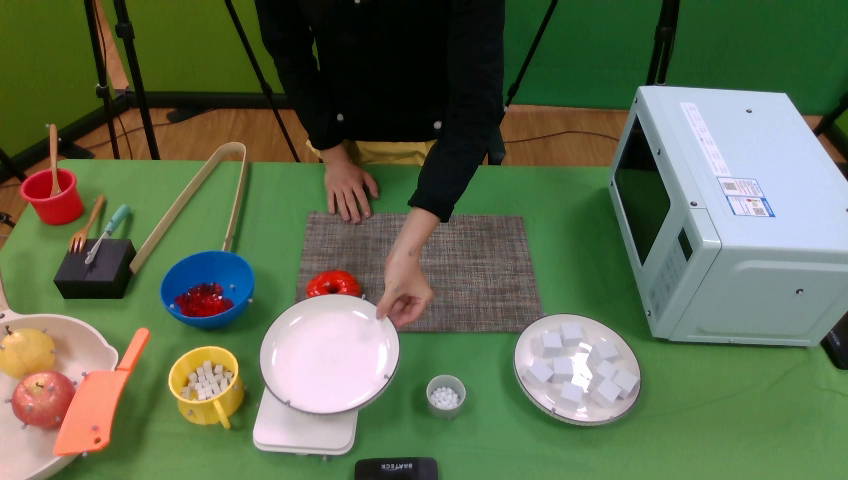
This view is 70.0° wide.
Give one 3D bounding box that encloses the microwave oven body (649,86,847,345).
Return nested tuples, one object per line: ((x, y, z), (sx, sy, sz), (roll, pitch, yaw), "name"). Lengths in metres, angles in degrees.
((0.567, -0.053, 1.118), (0.326, 0.261, 0.439), (2, 45, -1), "microwave oven body")

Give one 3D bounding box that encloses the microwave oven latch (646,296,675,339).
((0.412, 0.134, 1.061), (0.030, 0.029, 0.078), (4, 45, 1), "microwave oven latch")

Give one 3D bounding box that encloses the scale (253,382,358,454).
((-0.175, 0.236, 0.951), (0.149, 0.032, 0.199), (4, 45, 0), "scale")

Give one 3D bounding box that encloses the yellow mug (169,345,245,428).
((-0.322, 0.230, 0.922), (0.100, 0.064, 0.130), (-24, 53, -26), "yellow mug")

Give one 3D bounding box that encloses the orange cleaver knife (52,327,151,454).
((-0.462, 0.212, 0.879), (0.077, 0.012, 0.210), (6, 45, -2), "orange cleaver knife")

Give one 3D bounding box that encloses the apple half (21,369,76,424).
((-0.546, 0.226, 0.898), (0.080, 0.075, 0.053), (30, 48, 27), "apple half")

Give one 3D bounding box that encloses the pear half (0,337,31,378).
((-0.631, 0.183, 0.923), (0.070, 0.088, 0.031), (28, 50, 15), "pear half")

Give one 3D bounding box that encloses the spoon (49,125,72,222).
((-0.718, -0.131, 1.189), (0.041, 0.021, 0.193), (-4, 90, -7), "spoon")

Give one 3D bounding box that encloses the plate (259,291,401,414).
((-0.140, 0.170, 0.912), (0.209, 0.038, 0.208), (2, 48, -2), "plate")

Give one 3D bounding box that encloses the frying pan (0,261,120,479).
((-0.647, 0.164, 0.936), (0.307, 0.103, 0.485), (-19, 58, -22), "frying pan")

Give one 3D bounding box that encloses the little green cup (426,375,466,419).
((0.033, 0.248, 0.950), (0.061, 0.039, 0.061), (2, 47, -2), "little green cup")

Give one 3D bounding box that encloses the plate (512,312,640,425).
((0.246, 0.213, 0.999), (0.208, 0.039, 0.206), (2, 46, -2), "plate")

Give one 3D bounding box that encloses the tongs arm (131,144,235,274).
((-0.484, -0.077, 1.235), (0.028, 0.028, 0.385), (6, 45, 13), "tongs arm")

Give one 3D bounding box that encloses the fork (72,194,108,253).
((-0.634, -0.036, 1.158), (0.028, 0.019, 0.206), (-7, 31, -8), "fork")

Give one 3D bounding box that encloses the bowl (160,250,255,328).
((-0.362, 0.098, 1.040), (0.151, 0.077, 0.150), (2, 45, -2), "bowl")

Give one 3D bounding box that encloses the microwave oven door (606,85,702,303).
((0.422, -0.094, 1.140), (0.039, 0.245, 0.353), (2, 46, -1), "microwave oven door")

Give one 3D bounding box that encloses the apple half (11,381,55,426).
((-0.570, 0.246, 0.875), (0.081, 0.081, 0.033), (32, 49, 24), "apple half")

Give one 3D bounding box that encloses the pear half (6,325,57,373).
((-0.607, 0.158, 0.935), (0.076, 0.110, 0.056), (30, 51, 19), "pear half")

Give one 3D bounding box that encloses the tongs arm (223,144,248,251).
((-0.398, -0.073, 1.232), (0.051, 0.027, 0.382), (-2, 45, 0), "tongs arm")

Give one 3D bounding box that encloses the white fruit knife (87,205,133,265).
((-0.584, -0.013, 1.129), (0.016, 0.027, 0.206), (0, 31, -5), "white fruit knife")

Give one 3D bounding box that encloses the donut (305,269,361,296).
((-0.161, 0.095, 1.075), (0.099, 0.048, 0.098), (4, 45, -4), "donut")
